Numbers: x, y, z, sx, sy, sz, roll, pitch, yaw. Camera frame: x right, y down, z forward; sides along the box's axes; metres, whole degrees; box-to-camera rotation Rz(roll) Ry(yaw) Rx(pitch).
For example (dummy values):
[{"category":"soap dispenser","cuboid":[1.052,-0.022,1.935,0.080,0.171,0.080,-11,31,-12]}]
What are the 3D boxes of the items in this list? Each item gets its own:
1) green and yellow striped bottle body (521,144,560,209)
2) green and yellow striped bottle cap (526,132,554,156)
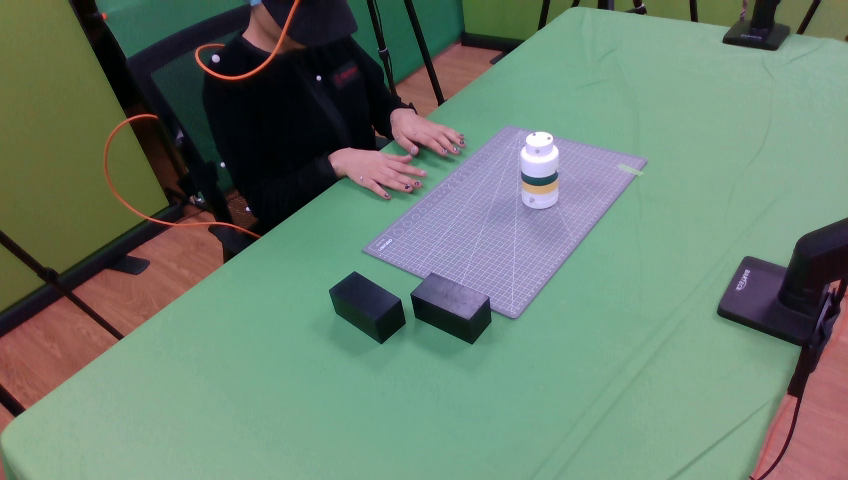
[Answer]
[{"category":"green and yellow striped bottle body","cuboid":[0.193,-0.116,1.002,0.063,0.120,0.063,-5,40,5]},{"category":"green and yellow striped bottle cap","cuboid":[0.186,-0.154,0.968,0.045,0.020,0.045,-5,38,5]}]
